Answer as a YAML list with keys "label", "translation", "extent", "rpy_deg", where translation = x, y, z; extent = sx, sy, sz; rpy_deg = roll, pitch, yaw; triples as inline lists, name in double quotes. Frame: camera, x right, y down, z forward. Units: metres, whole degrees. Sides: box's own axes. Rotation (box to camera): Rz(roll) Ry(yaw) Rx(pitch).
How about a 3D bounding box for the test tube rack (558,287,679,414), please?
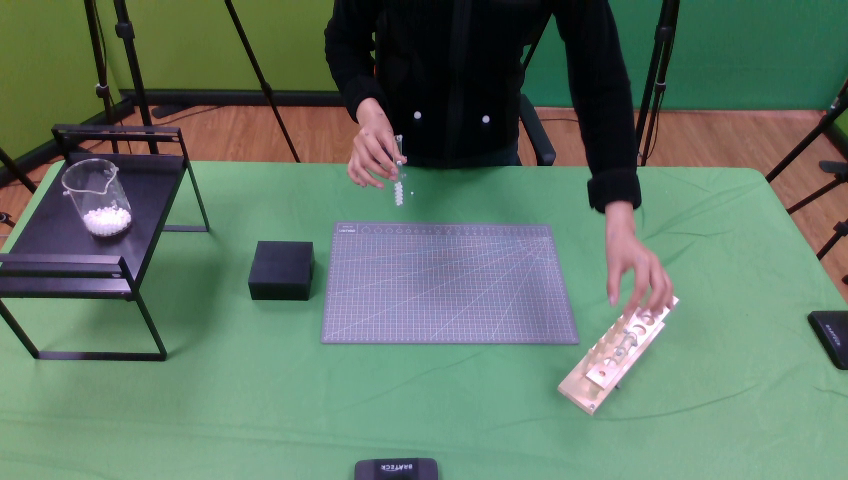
- label: "test tube rack"
  translation: [0.326, 0.170, 1.009]
  extent: [0.066, 0.085, 0.242]
  rpy_deg: [36, 54, 27]

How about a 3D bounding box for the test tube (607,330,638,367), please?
- label: "test tube"
  translation: [0.292, 0.184, 0.925]
  extent: [0.017, 0.151, 0.017]
  rpy_deg: [4, 49, -4]

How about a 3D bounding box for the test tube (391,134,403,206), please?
- label: "test tube"
  translation: [-0.044, -0.114, 1.014]
  extent: [0.017, 0.151, 0.017]
  rpy_deg: [0, 47, 0]

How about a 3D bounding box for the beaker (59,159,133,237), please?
- label: "beaker"
  translation: [-0.488, -0.060, 0.914]
  extent: [0.074, 0.101, 0.083]
  rpy_deg: [-35, 58, -31]
